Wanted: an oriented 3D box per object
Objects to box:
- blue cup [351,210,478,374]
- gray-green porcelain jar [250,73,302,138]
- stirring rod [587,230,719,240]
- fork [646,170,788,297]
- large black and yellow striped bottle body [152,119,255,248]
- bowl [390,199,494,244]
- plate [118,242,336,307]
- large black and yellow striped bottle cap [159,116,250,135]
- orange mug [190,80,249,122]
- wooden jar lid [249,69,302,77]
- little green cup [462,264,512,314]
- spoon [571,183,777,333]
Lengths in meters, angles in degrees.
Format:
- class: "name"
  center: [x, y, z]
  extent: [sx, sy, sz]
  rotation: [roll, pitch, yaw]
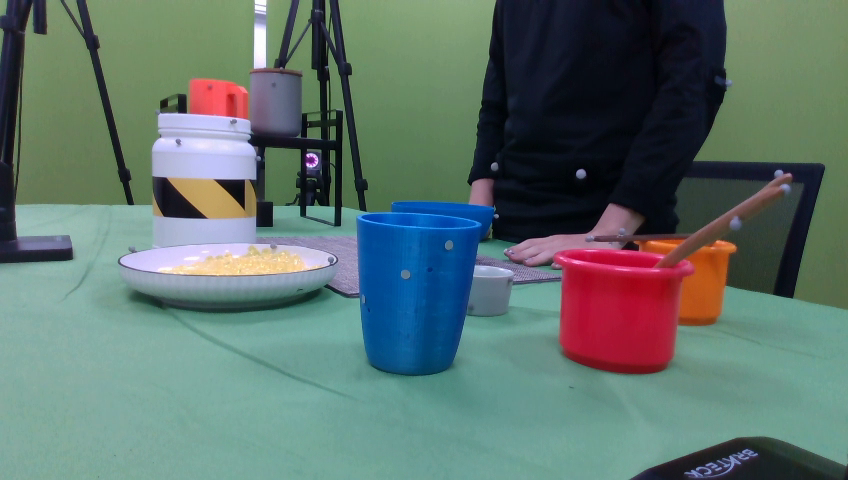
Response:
- class: "blue cup"
  center: [-0.009, 0.034, 0.414]
  extent: [0.093, 0.100, 0.092]
  rotation: [4, 8, 0]
- class: "gray-green porcelain jar"
  center: [-0.312, -0.280, 1.270]
  extent: [0.106, 0.126, 0.106]
  rotation: [3, 8, 0]
- class: "stirring rod"
  center: [0.226, -0.005, 0.587]
  extent: [0.177, 0.006, 0.014]
  rotation: [-2, 9, -29]
- class: "fork"
  center: [0.256, 0.004, 0.543]
  extent: [0.028, 0.018, 0.207]
  rotation: [3, -36, -9]
- class: "large black and yellow striped bottle body"
  center: [-0.296, -0.070, 0.819]
  extent: [0.131, 0.184, 0.130]
  rotation: [2, 7, 0]
- class: "bowl"
  center: [0.024, -0.015, 0.871]
  extent: [0.151, 0.077, 0.151]
  rotation: [3, 7, 0]
- class: "plate"
  center: [-0.194, 0.033, 0.615]
  extent: [0.209, 0.038, 0.209]
  rotation: [2, 7, 0]
- class: "large black and yellow striped bottle cap"
  center: [-0.292, -0.153, 0.810]
  extent: [0.115, 0.019, 0.115]
  rotation: [3, 9, 0]
- class: "orange mug"
  center: [-0.393, -0.257, 1.173]
  extent: [0.126, 0.100, 0.084]
  rotation: [1, 6, 25]
- class: "wooden jar lid"
  center: [-0.309, -0.341, 1.262]
  extent: [0.108, 0.020, 0.108]
  rotation: [1, 8, 0]
- class: "little green cup"
  center: [0.053, 0.047, 0.580]
  extent: [0.061, 0.038, 0.061]
  rotation: [3, 8, 0]
- class: "spoon"
  center: [0.161, 0.020, 0.413]
  extent: [0.042, 0.021, 0.193]
  rotation: [1, -37, -24]
